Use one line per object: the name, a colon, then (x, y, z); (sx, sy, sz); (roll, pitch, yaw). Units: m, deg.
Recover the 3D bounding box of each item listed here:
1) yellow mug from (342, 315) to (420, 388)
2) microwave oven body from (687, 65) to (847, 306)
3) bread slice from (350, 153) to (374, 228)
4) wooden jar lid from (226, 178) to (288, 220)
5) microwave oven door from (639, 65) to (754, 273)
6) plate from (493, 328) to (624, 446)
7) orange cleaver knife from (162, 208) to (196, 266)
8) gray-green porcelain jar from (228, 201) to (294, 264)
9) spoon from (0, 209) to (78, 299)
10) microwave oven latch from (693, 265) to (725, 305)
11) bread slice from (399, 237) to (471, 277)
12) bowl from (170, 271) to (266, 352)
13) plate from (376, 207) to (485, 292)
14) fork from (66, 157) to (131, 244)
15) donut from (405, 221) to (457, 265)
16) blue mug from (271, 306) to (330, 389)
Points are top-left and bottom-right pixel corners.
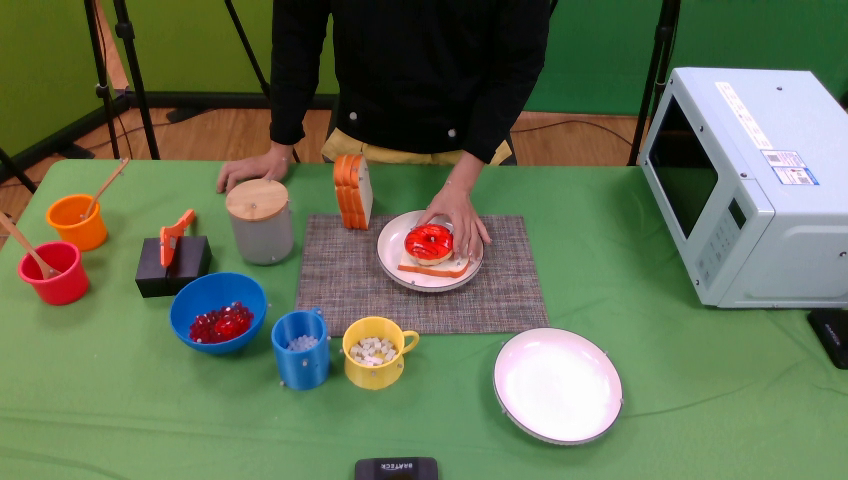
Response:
yellow mug: (-0.068, 0.177, 0.990); (0.131, 0.064, 0.099); (-15, 50, -19)
microwave oven body: (0.669, -0.111, 1.176); (0.326, 0.261, 0.439); (0, 46, -3)
bread slice: (-0.124, -0.103, 1.207); (0.018, 0.135, 0.106); (-1, 47, 7)
wooden jar lid: (-0.296, -0.070, 1.081); (0.108, 0.021, 0.107); (1, 45, -1)
microwave oven door: (0.522, -0.147, 1.193); (0.039, 0.245, 0.353); (0, 47, -3)
plate: (0.213, 0.236, 0.974); (0.208, 0.039, 0.206); (2, 46, -2)
orange cleaver knife: (-0.454, -0.010, 1.129); (0.012, 0.077, 0.210); (-1, 17, -6)
gray-green porcelain jar: (-0.299, -0.027, 1.126); (0.106, 0.127, 0.105); (2, 46, -2)
spoon: (-0.668, 0.022, 1.040); (0.041, 0.021, 0.194); (-41, 105, -29)
microwave oven latch: (0.522, 0.081, 1.115); (0.030, 0.029, 0.078); (2, 46, -1)
bread slice: (0.025, 0.025, 1.160); (0.131, 0.019, 0.104); (6, 47, 8)
bowl: (-0.333, 0.132, 1.006); (0.151, 0.077, 0.150); (2, 46, -2)
plate: (0.012, 0.020, 1.159); (0.209, 0.038, 0.208); (2, 47, -2)
fork: (-0.608, -0.074, 1.132); (0.207, 0.019, 0.028); (-52, 48, 10)
donut: (0.013, 0.004, 1.137); (0.099, 0.048, 0.098); (-2, 42, 2)
blue mug: (-0.188, 0.163, 0.969); (0.082, 0.106, 0.116); (15, 47, 10)
